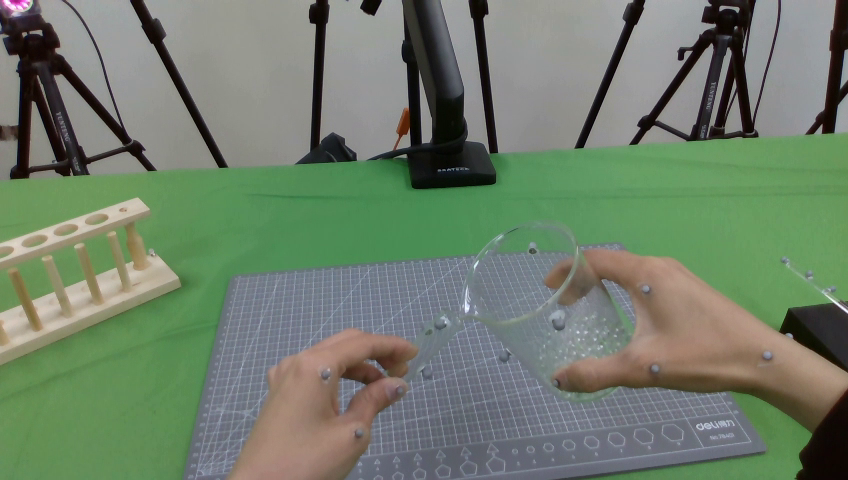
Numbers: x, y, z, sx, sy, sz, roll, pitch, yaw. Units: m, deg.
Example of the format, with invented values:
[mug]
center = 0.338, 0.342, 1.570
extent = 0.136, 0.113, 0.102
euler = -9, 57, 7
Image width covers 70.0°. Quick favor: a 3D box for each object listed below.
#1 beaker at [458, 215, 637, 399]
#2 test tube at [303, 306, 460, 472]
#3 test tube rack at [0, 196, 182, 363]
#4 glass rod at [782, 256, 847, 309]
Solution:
[beaker]
center = 0.078, 0.047, 0.371
extent = 0.084, 0.101, 0.073
euler = -35, 34, 12
[test tube]
center = -0.030, 0.097, 0.381
extent = 0.017, 0.150, 0.017
euler = 37, 18, -13
[test tube rack]
center = -0.374, 0.045, 0.587
extent = 0.242, 0.086, 0.066
euler = -27, 42, -33
[glass rod]
center = 0.382, 0.069, 0.516
extent = 0.008, 0.008, 0.197
euler = -10, 35, -13
